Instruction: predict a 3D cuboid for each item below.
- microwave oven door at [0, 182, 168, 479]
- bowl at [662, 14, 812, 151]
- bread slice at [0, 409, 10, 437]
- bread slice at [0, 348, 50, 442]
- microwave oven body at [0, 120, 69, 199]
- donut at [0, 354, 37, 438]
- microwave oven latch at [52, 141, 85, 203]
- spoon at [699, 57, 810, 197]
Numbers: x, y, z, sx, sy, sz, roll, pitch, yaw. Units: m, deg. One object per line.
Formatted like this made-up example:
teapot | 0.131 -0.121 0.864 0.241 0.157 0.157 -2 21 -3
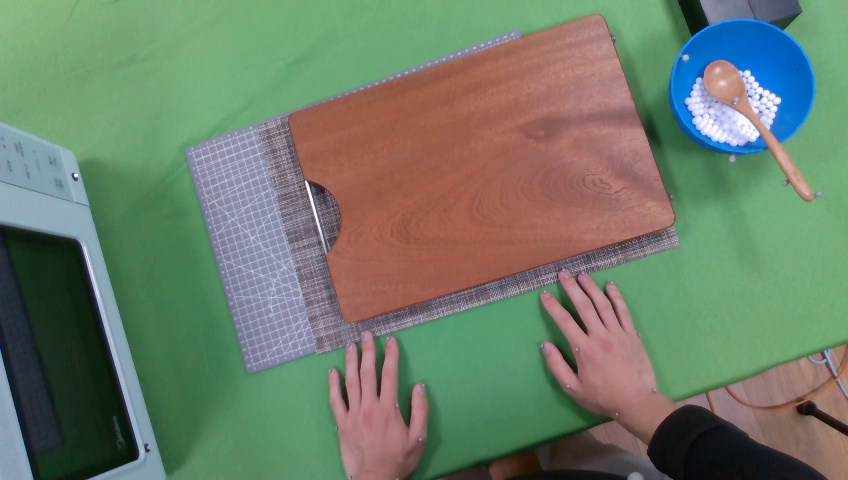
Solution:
microwave oven door | -0.390 0.111 0.625 0.039 0.244 0.354 -21 82 3
bowl | 0.339 -0.166 0.684 0.151 0.077 0.151 -1 84 6
bread slice | -0.491 0.181 0.619 0.134 0.018 0.106 -36 85 15
bread slice | -0.511 0.190 0.700 0.132 0.019 0.105 -11 91 -6
microwave oven body | -0.541 0.123 0.643 0.326 0.261 0.440 -21 83 2
donut | -0.483 0.172 0.668 0.099 0.048 0.099 -1 98 -10
microwave oven latch | -0.452 -0.081 0.754 0.030 0.029 0.079 -21 83 2
spoon | 0.353 -0.124 0.648 0.041 0.022 0.191 -19 59 0
